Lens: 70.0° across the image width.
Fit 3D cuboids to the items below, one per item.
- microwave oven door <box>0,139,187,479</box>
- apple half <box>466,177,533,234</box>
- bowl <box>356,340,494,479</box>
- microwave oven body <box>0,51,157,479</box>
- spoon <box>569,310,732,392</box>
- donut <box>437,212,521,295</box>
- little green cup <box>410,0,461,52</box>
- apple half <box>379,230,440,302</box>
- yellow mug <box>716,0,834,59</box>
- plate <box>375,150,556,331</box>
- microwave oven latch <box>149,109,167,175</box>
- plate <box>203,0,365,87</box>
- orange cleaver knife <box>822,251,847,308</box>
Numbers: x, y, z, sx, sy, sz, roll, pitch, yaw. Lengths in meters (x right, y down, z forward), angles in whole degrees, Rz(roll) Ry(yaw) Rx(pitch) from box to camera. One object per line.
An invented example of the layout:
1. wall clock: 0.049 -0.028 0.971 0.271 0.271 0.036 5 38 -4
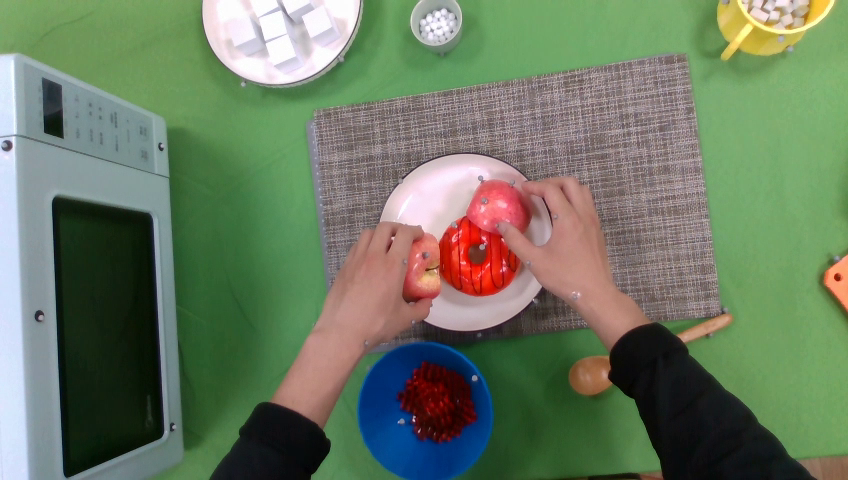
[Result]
1. microwave oven door: -0.344 0.091 0.650 0.039 0.244 0.355 -5 86 10
2. apple half: 0.089 -0.045 0.675 0.081 0.033 0.080 5 51 -6
3. bowl: 0.006 0.185 0.689 0.151 0.077 0.151 0 87 10
4. microwave oven body: -0.490 0.062 0.680 0.325 0.261 0.441 -5 87 9
5. spoon: 0.254 0.121 0.679 0.193 0.022 0.041 -25 68 8
6. donut: 0.062 0.014 0.693 0.099 0.048 0.099 0 92 12
7. little green cup: 0.016 -0.257 0.727 0.061 0.039 0.061 -1 87 10
8. apple half: -0.021 0.030 0.680 0.053 0.074 0.081 -7 104 -32
9. yellow mug: 0.367 -0.250 0.654 0.099 0.064 0.131 41 95 9
10. plate: 0.047 0.001 0.707 0.209 0.038 0.209 0 88 10
11. microwave oven latch: -0.343 -0.122 0.761 0.030 0.029 0.079 -3 88 9
12. plate: -0.172 -0.290 0.759 0.207 0.039 0.207 0 87 10
13. orange cleaver knife: 0.498 0.102 0.641 0.077 0.012 0.210 -22 82 2
